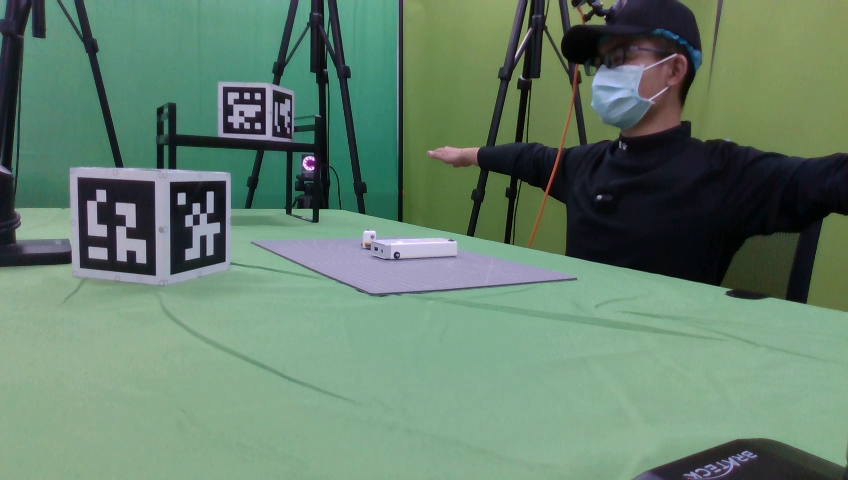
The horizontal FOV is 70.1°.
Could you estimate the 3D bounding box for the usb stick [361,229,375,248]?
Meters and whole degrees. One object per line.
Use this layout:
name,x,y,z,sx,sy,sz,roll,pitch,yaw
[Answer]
usb stick,-0.091,-0.002,0.984,0.021,0.027,0.059,3,9,-4

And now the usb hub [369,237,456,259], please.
usb hub,-0.016,0.012,0.909,0.126,0.025,0.049,-2,9,-32
